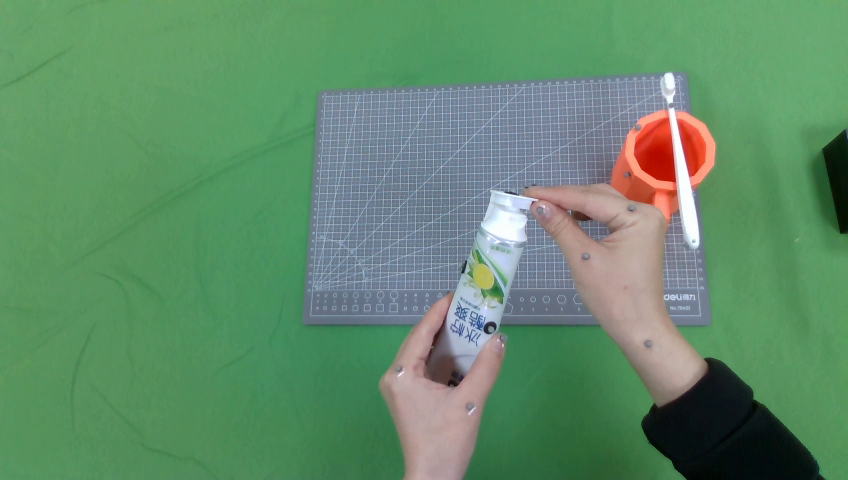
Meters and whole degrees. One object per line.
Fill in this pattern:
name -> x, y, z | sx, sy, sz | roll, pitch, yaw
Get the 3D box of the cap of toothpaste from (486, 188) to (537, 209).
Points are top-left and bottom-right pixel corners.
cap of toothpaste -> 0.060, -0.029, 0.420 | 0.037, 0.037, 0.011 | 9, 96, 10

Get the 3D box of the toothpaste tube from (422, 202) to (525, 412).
toothpaste tube -> 0.038, 0.046, 0.448 | 0.054, 0.035, 0.165 | 29, 113, 34

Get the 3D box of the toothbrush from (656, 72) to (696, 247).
toothbrush -> 0.246, -0.081, 0.589 | 0.014, 0.017, 0.181 | -4, 75, 4

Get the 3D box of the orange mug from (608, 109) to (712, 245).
orange mug -> 0.244, -0.062, 0.639 | 0.083, 0.101, 0.125 | 7, 72, 10
